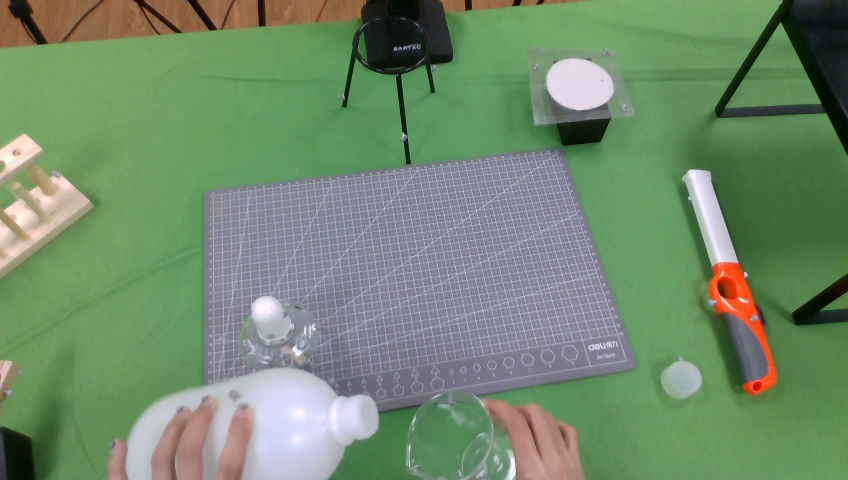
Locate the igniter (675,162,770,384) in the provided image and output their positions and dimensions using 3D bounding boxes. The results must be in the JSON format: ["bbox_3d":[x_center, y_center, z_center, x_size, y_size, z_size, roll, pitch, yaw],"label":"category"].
[{"bbox_3d":[0.338,0.028,0.691,0.057,0.025,0.274,3,62,-12],"label":"igniter"}]

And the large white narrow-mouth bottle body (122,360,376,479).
[{"bbox_3d":[-0.127,0.146,0.468,0.194,0.103,0.101,-17,60,20],"label":"large white narrow-mouth bottle body"}]

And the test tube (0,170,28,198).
[{"bbox_3d":[-0.466,-0.089,0.636,0.017,0.151,0.017,-1,61,2],"label":"test tube"}]

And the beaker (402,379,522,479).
[{"bbox_3d":[0.035,0.174,0.518,0.084,0.101,0.073,-37,50,3],"label":"beaker"}]

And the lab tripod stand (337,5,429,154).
[{"bbox_3d":[-0.041,-0.200,0.738,0.148,0.132,0.147,2,63,-3],"label":"lab tripod stand"}]

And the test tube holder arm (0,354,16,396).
[{"bbox_3d":[-0.405,0.188,0.534,0.013,0.015,0.177,2,62,7],"label":"test tube holder arm"}]

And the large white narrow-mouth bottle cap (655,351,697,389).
[{"bbox_3d":[0.264,0.136,0.637,0.038,0.024,0.037,1,62,-1],"label":"large white narrow-mouth bottle cap"}]

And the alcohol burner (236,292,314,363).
[{"bbox_3d":[-0.149,0.081,0.595,0.078,0.120,0.077,2,60,-3],"label":"alcohol burner"}]

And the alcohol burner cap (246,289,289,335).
[{"bbox_3d":[-0.148,0.065,0.563,0.034,0.048,0.033,-1,57,1],"label":"alcohol burner cap"}]

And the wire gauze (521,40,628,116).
[{"bbox_3d":[0.187,-0.208,0.765,0.121,0.011,0.124,-1,62,-2],"label":"wire gauze"}]

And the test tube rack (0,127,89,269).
[{"bbox_3d":[-0.498,-0.005,0.647,0.066,0.086,0.242,37,67,16],"label":"test tube rack"}]

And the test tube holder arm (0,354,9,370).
[{"bbox_3d":[-0.407,0.148,0.555,0.010,0.015,0.087,2,62,7],"label":"test tube holder arm"}]
